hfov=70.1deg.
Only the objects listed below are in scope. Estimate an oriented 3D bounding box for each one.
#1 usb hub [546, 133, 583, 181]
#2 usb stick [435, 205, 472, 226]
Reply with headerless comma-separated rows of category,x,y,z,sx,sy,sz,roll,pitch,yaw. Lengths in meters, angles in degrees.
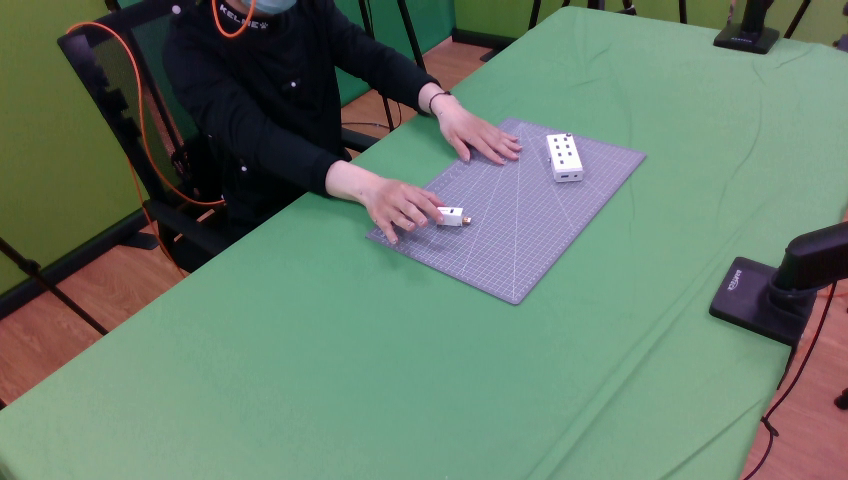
usb hub,0.256,-0.152,1.103,0.049,0.025,0.124,-3,41,4
usb stick,0.050,-0.040,0.999,0.059,0.027,0.021,8,43,11
